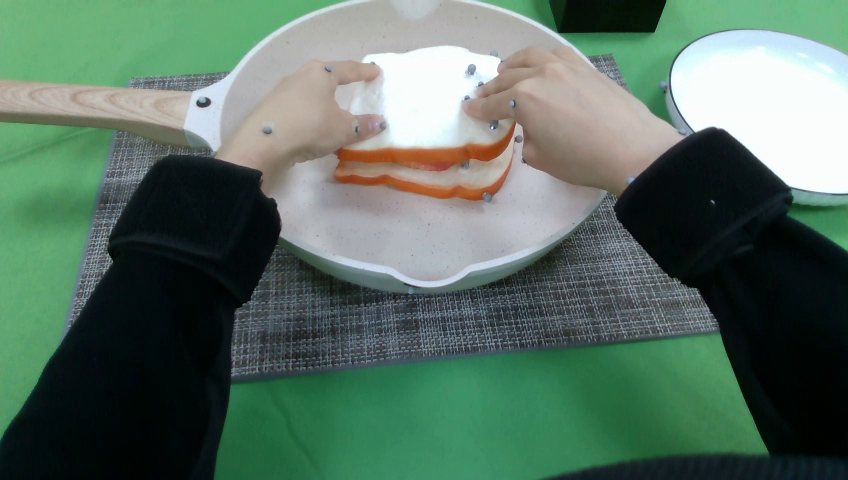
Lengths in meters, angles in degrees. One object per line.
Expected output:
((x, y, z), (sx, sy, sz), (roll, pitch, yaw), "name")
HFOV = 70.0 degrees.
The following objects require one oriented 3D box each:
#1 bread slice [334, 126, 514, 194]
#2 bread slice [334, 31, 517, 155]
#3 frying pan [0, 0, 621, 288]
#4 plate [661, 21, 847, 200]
((0.005, -0.082, 0.493), (0.134, 0.018, 0.106), (7, 56, 5), "bread slice")
((0.004, -0.112, 0.457), (0.131, 0.019, 0.104), (5, 65, 1), "bread slice")
((-0.107, -0.090, 0.444), (0.489, 0.103, 0.303), (5, 53, -9), "frying pan")
((0.306, -0.111, 0.522), (0.208, 0.039, 0.205), (1, 55, -1), "plate")
